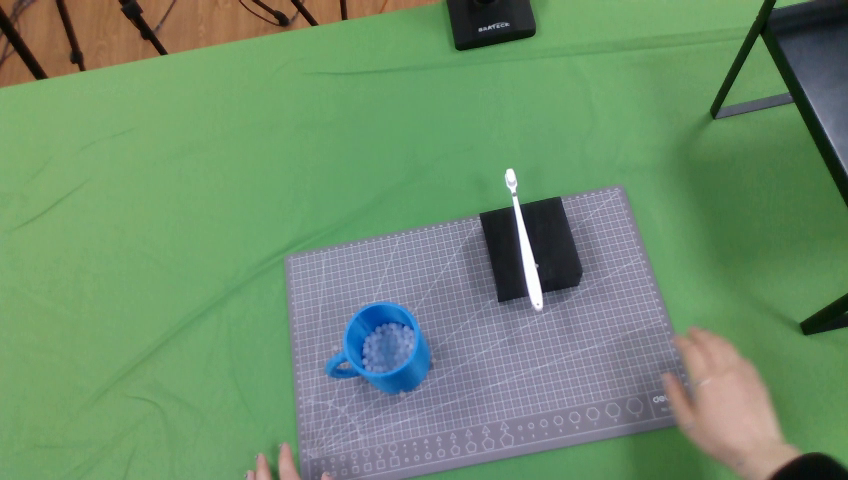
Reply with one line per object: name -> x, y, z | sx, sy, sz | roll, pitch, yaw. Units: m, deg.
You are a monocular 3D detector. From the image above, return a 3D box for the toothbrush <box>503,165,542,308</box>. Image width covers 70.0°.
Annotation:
toothbrush -> 0.115, -0.008, 0.707 | 0.014, 0.017, 0.180 | -7, 67, -4

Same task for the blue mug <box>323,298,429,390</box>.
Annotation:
blue mug -> -0.056, 0.124, 0.679 | 0.116, 0.106, 0.081 | -20, 67, -1
